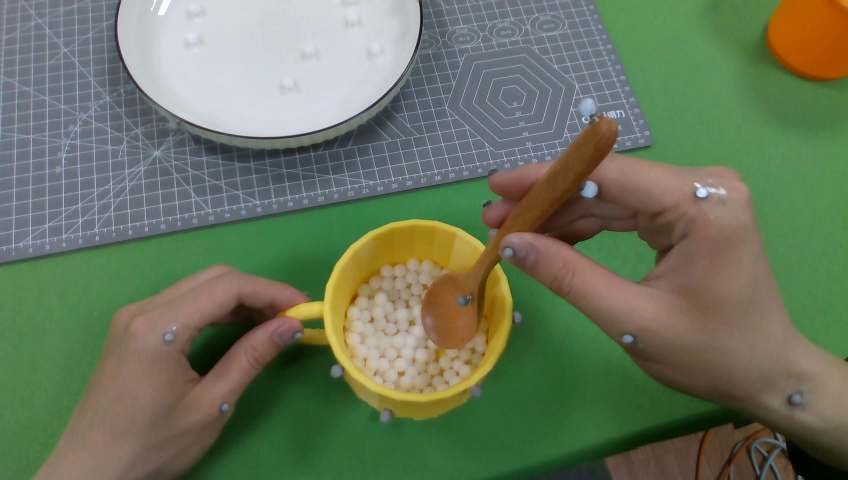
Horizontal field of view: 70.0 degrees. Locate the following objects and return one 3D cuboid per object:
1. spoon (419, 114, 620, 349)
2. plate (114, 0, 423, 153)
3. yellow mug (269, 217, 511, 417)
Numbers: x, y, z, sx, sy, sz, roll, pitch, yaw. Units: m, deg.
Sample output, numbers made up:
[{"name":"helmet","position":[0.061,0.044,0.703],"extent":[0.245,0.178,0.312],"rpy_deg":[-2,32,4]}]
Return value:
[{"name":"spoon","position":[0.032,0.008,0.276],"extent":[0.022,0.194,0.041],"rpy_deg":[-20,71,-24]},{"name":"plate","position":[-0.104,-0.147,0.430],"extent":[0.208,0.039,0.206],"rpy_deg":[2,67,-3]},{"name":"yellow mug","position":[-0.021,0.046,0.342],"extent":[0.131,0.064,0.099],"rpy_deg":[-2,67,-4]}]
